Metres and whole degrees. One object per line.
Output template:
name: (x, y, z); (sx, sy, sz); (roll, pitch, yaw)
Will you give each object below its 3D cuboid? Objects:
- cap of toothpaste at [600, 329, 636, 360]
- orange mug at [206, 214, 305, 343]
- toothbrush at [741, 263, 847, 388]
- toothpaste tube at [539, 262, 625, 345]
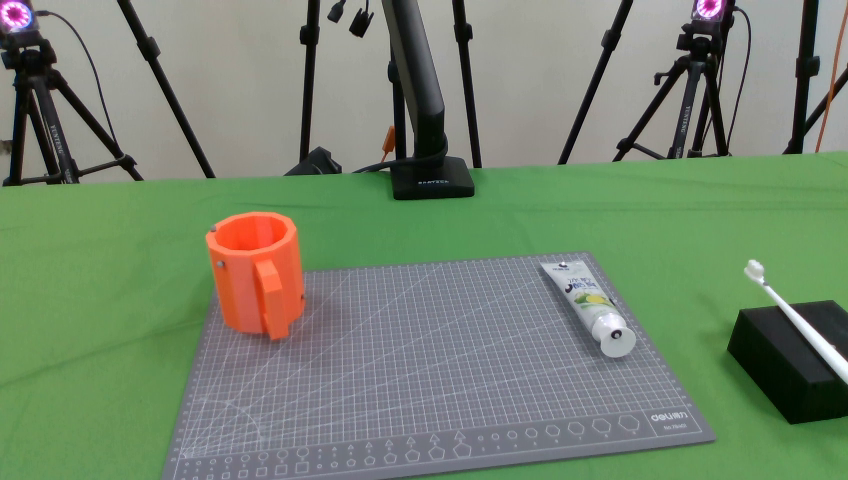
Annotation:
cap of toothpaste: (0.185, 0.099, 0.582); (0.037, 0.037, 0.011); (-5, 28, -8)
orange mug: (-0.164, 0.042, 0.612); (0.084, 0.101, 0.125); (-14, 30, -22)
toothbrush: (0.344, 0.075, 0.557); (0.014, 0.017, 0.180); (2, 31, -6)
toothpaste tube: (0.176, 0.064, 0.651); (0.055, 0.035, 0.163); (1, 27, -10)
